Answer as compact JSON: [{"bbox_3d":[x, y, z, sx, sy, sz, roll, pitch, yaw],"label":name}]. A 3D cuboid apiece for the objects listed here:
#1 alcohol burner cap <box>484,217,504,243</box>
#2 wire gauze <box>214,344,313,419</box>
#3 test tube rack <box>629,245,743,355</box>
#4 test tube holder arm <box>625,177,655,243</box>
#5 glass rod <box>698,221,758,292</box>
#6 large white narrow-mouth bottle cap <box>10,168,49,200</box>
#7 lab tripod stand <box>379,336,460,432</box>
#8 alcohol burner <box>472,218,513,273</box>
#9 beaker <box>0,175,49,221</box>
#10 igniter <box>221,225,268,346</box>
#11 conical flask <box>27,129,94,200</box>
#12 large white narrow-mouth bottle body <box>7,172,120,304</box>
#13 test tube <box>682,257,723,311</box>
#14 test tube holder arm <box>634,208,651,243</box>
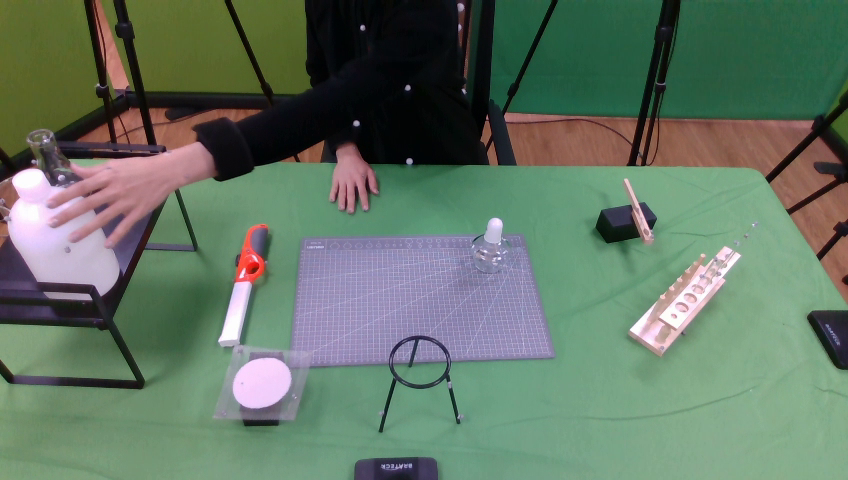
[{"bbox_3d":[0.130,-0.021,1.107,0.034,0.048,0.033,4,41,-3],"label":"alcohol burner cap"},{"bbox_3d":[-0.241,0.213,0.915,0.121,0.011,0.124,5,46,1],"label":"wire gauze"},{"bbox_3d":[0.474,0.095,1.091,0.242,0.085,0.066,-34,56,-31],"label":"test tube rack"},{"bbox_3d":[0.433,-0.063,1.220,0.013,0.015,0.177,1,47,-3],"label":"test tube holder arm"},{"bbox_3d":[0.527,0.035,1.059,0.008,0.200,0.008,5,49,-6],"label":"glass rod"},{"bbox_3d":[-0.479,-0.068,0.737,0.038,0.024,0.037,2,46,-2],"label":"large white narrow-mouth bottle cap"},{"bbox_3d":[-0.011,0.214,0.911,0.148,0.132,0.147,1,45,0],"label":"lab tripod stand"},{"bbox_3d":[0.128,0.005,1.132,0.078,0.120,0.077,0,47,0],"label":"alcohol burner"},{"bbox_3d":[-0.569,-0.035,0.886,0.074,0.101,0.083,-12,49,-14],"label":"beaker"},{"bbox_3d":[-0.323,0.072,1.100,0.057,0.025,0.274,-6,45,5],"label":"igniter"},{"bbox_3d":[-0.575,-0.113,0.946,0.075,0.122,0.075,2,46,-2],"label":"conical flask"},{"bbox_3d":[-0.482,-0.008,0.800,0.102,0.195,0.101,2,46,-2],"label":"large white narrow-mouth bottle body"},{"bbox_3d":[0.475,0.080,1.037,0.017,0.151,0.017,1,50,-1],"label":"test tube"},{"bbox_3d":[0.428,-0.030,1.189,0.010,0.015,0.087,2,47,-2],"label":"test tube holder arm"}]
